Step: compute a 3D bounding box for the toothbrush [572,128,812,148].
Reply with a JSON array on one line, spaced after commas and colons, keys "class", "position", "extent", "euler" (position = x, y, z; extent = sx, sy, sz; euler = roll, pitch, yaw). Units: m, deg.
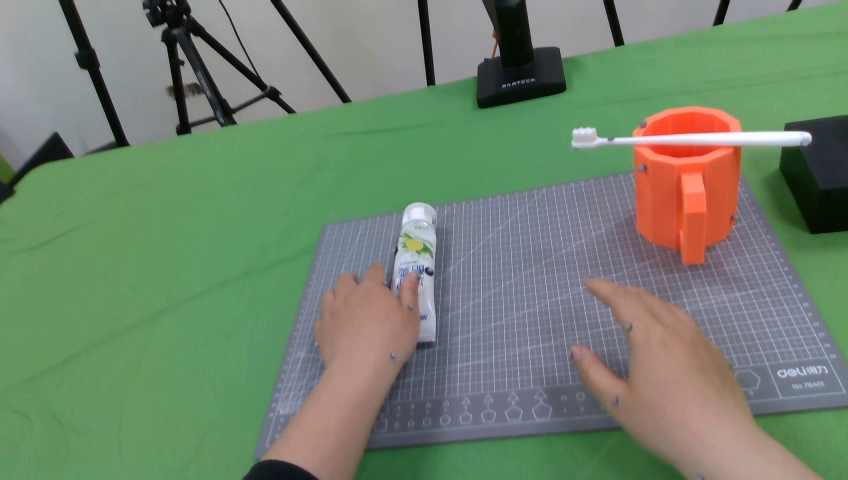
[{"class": "toothbrush", "position": [0.211, -0.084, 0.496], "extent": [0.181, 0.017, 0.014], "euler": [4, 37, 26]}]

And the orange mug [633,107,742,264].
[{"class": "orange mug", "position": [0.228, -0.043, 0.525], "extent": [0.083, 0.102, 0.125], "euler": [-3, 38, 19]}]

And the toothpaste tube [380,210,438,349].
[{"class": "toothpaste tube", "position": [-0.013, 0.032, 0.591], "extent": [0.055, 0.035, 0.163], "euler": [-14, 46, 17]}]

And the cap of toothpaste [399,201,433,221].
[{"class": "cap of toothpaste", "position": [-0.008, -0.027, 0.640], "extent": [0.037, 0.038, 0.011], "euler": [-7, 50, 14]}]
